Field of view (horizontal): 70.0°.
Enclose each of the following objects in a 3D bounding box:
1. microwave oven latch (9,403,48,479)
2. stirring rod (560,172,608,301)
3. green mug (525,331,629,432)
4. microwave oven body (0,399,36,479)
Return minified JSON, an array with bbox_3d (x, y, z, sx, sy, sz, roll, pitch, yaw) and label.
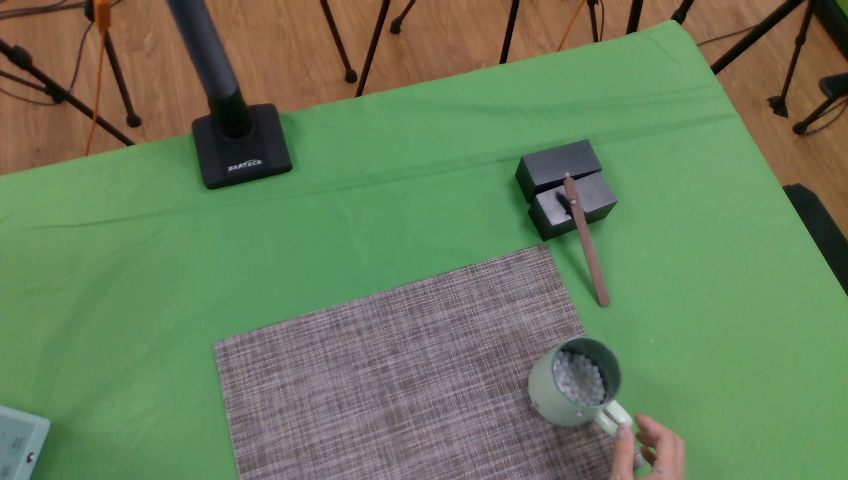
[{"bbox_3d":[-0.438,0.220,0.655,0.030,0.029,0.078,12,67,1],"label":"microwave oven latch"},{"bbox_3d":[0.210,-0.004,0.793,0.014,0.006,0.176,-18,93,0],"label":"stirring rod"},{"bbox_3d":[0.182,0.169,0.698,0.092,0.105,0.124,-40,74,-19],"label":"green mug"},{"bbox_3d":[-0.609,0.314,0.497,0.326,0.261,0.438,10,67,0],"label":"microwave oven body"}]
